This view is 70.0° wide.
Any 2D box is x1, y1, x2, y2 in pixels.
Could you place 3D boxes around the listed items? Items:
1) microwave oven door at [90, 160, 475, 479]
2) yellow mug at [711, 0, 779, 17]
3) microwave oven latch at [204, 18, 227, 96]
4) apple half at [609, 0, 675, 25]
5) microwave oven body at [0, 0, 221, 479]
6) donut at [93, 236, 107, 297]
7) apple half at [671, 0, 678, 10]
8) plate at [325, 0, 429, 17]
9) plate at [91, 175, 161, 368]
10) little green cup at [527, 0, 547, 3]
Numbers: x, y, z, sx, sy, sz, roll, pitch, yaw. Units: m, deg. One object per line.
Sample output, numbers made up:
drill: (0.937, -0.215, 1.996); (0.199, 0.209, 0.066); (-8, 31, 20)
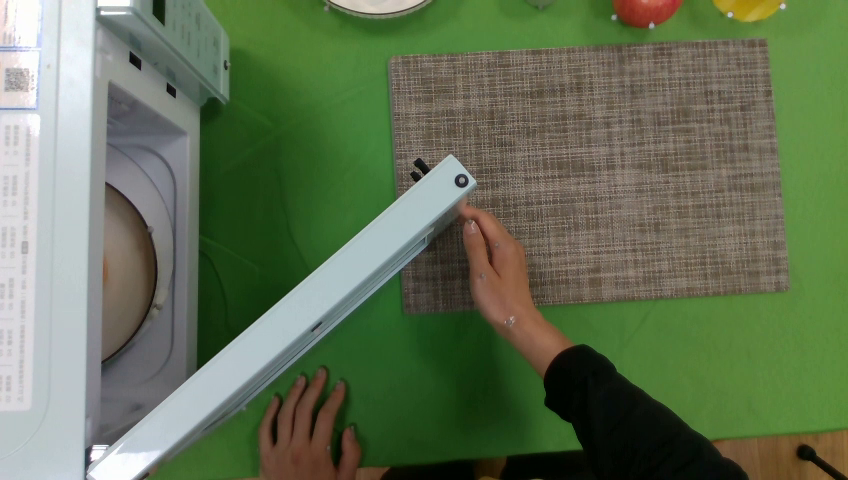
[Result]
microwave oven door: (-0.103, 0.069, 0.558); (0.356, 0.244, 0.039); (-41, 87, -3)
yellow mug: (0.369, -0.320, 0.695); (0.131, 0.064, 0.100); (7, 86, 0)
microwave oven latch: (-0.235, -0.202, 0.671); (0.030, 0.029, 0.079); (1, 88, -2)
apple half: (0.238, -0.280, 0.687); (0.053, 0.074, 0.081); (-30, 91, 2)
microwave oven body: (-0.379, -0.030, 0.562); (0.326, 0.260, 0.441); (-1, 88, -2)
donut: (-0.366, 0.028, 0.598); (0.099, 0.048, 0.099); (0, 85, -1)
apple half: (0.272, -0.300, 0.687); (0.033, 0.081, 0.081); (-30, 87, 2)
plate: (-0.054, -0.356, 0.701); (0.208, 0.039, 0.207); (0, 87, -1)
plate: (-0.368, 0.032, 0.611); (0.209, 0.038, 0.209); (0, 87, -2)
little green cup: (0.134, -0.308, 0.703); (0.061, 0.038, 0.061); (0, 86, -1)
